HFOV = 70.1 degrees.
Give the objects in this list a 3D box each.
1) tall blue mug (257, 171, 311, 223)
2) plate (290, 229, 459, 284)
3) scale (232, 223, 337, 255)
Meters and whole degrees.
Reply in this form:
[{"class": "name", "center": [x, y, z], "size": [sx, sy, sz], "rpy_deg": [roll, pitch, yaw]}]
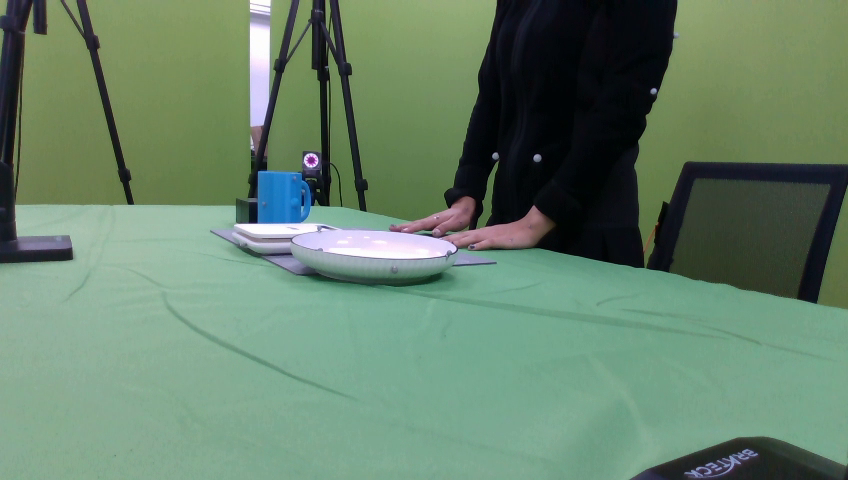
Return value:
[{"class": "tall blue mug", "center": [-0.258, -0.070, 1.107], "size": [0.078, 0.108, 0.107], "rpy_deg": [2, 7, 5]}, {"class": "plate", "center": [-0.062, 0.020, 0.753], "size": [0.209, 0.038, 0.209], "rpy_deg": [3, 9, 0]}, {"class": "scale", "center": [-0.178, -0.004, 0.920], "size": [0.202, 0.031, 0.148], "rpy_deg": [-1, 9, -30]}]
